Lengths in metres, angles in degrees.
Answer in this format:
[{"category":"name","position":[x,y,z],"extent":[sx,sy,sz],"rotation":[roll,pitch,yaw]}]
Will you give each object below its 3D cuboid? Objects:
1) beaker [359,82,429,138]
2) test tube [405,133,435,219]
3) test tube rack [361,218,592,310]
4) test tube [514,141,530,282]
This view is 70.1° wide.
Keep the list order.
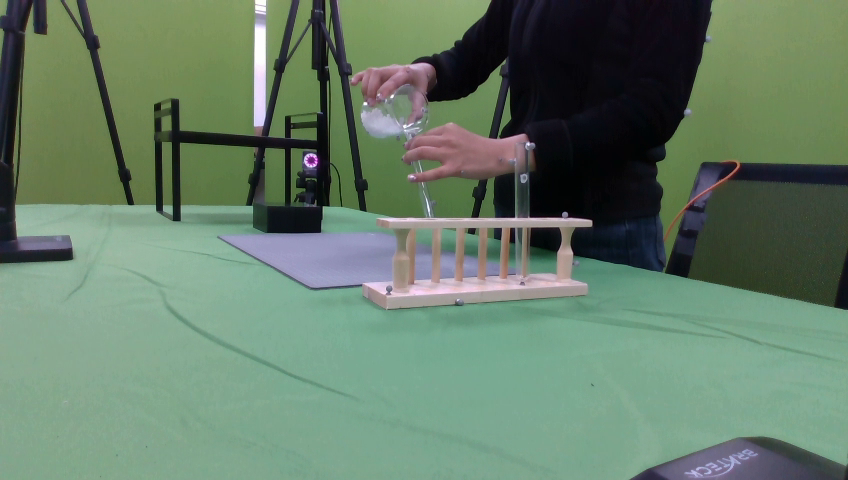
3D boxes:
[{"category":"beaker","position":[-0.051,-0.200,0.962],"extent":[0.074,0.084,0.100],"rotation":[-1,2,-38]},{"category":"test tube","position":[-0.006,-0.095,0.899],"extent":[0.017,0.150,0.017],"rotation":[-12,-22,-5]},{"category":"test tube rack","position":[0.059,0.018,0.640],"extent":[0.243,0.085,0.066],"rotation":[-1,8,-27]},{"category":"test tube","position":[0.103,-0.028,0.636],"extent":[0.017,0.150,0.017],"rotation":[-2,12,1]}]
